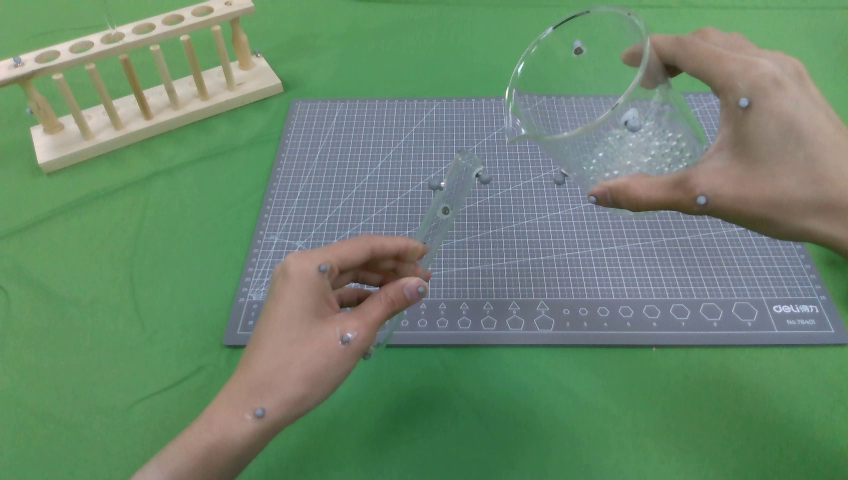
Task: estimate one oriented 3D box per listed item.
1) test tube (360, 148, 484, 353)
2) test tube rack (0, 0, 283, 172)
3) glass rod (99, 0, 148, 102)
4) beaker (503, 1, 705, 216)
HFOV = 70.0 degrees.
[{"bbox_3d":[-0.006,0.013,0.347,0.017,0.151,0.017,20,33,-13],"label":"test tube"},{"bbox_3d":[-0.273,-0.160,0.599,0.242,0.086,0.066,-25,52,-18],"label":"test tube rack"},{"bbox_3d":[-0.286,-0.203,0.549,0.008,0.201,0.008,1,51,-1],"label":"glass rod"},{"bbox_3d":[0.099,-0.061,0.324,0.084,0.101,0.073,-41,46,18],"label":"beaker"}]
